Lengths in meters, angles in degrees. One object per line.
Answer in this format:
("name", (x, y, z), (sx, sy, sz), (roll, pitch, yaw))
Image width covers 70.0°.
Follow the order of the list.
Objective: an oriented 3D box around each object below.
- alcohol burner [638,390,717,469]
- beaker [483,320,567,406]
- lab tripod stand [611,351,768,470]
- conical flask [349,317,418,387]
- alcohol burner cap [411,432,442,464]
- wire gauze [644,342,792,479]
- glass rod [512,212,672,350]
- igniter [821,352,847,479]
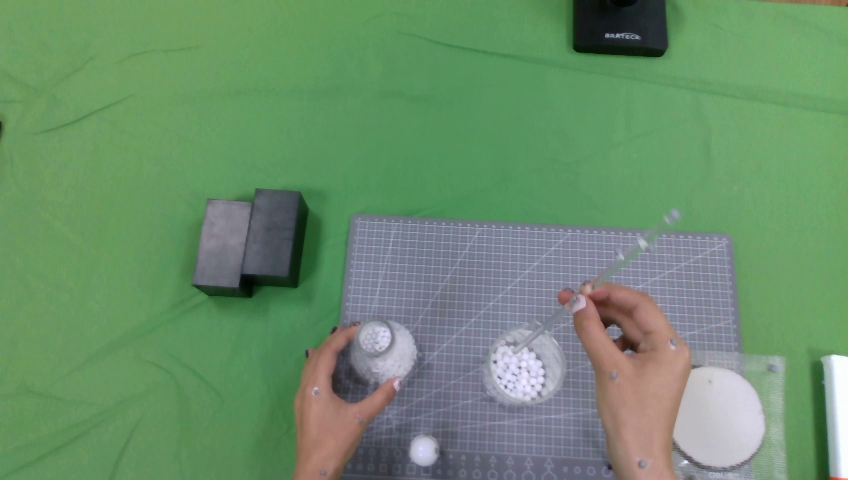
("alcohol burner", (0.255, 0.185, 0.596), (0.078, 0.120, 0.077), (-1, 73, 2))
("beaker", (0.099, 0.130, 0.620), (0.074, 0.101, 0.083), (14, 72, 4))
("lab tripod stand", (0.254, 0.176, 0.589), (0.148, 0.132, 0.147), (0, 75, 0))
("conical flask", (-0.045, 0.107, 0.614), (0.075, 0.122, 0.075), (0, 72, 0))
("alcohol burner cap", (0.002, 0.215, 0.624), (0.034, 0.048, 0.033), (0, 74, 1))
("wire gauze", (0.255, 0.154, 0.525), (0.125, 0.011, 0.121), (6, 74, 2))
("glass rod", (0.119, 0.040, 0.462), (0.008, 0.200, 0.008), (15, 50, -18))
("igniter", (0.435, 0.255, 0.624), (0.057, 0.025, 0.275), (10, 73, -8))
